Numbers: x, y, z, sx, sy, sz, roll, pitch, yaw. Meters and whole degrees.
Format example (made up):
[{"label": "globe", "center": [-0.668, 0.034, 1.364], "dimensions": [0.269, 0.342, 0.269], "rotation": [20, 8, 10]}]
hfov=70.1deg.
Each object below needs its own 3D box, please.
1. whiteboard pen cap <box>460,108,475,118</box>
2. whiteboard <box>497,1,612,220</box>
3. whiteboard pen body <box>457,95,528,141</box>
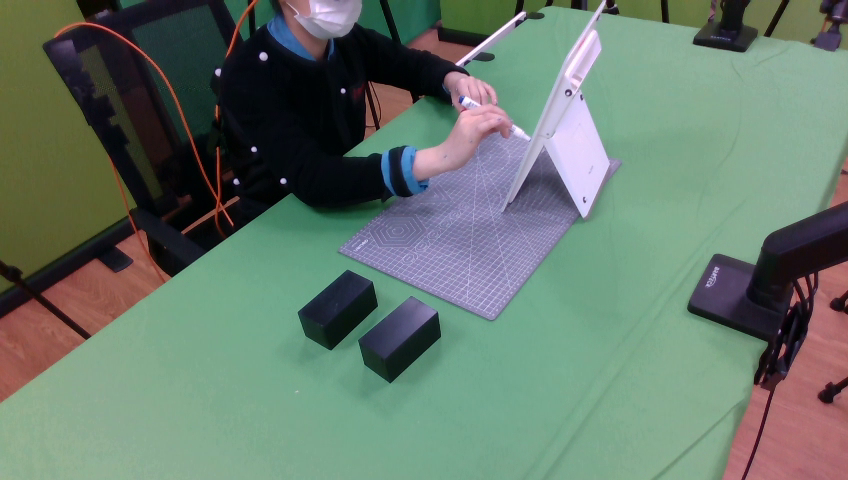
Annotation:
[{"label": "whiteboard pen cap", "center": [0.084, -0.245, 1.155], "dimensions": [0.017, 0.017, 0.032], "rotation": [27, 42, 34]}, {"label": "whiteboard", "center": [0.260, -0.177, 0.963], "dimensions": [0.143, 0.306, 0.217], "rotation": [28, 49, 9]}, {"label": "whiteboard pen body", "center": [0.115, -0.192, 0.966], "dimensions": [0.141, 0.017, 0.017], "rotation": [30, 45, -5]}]
